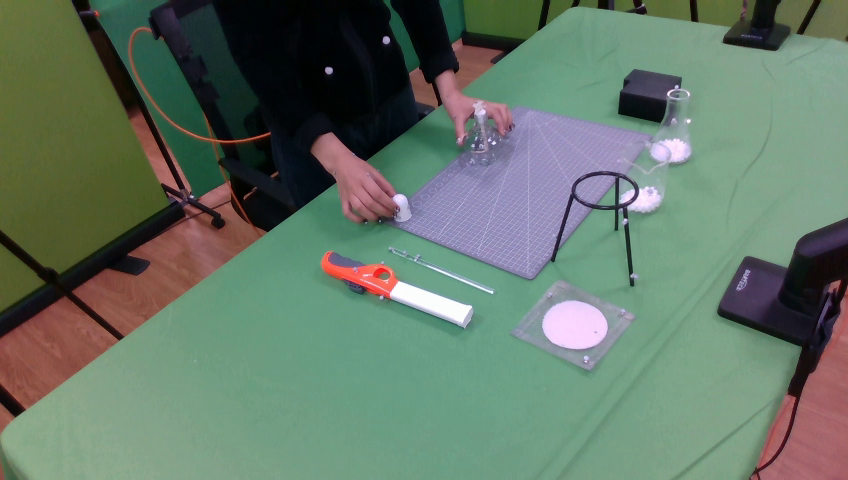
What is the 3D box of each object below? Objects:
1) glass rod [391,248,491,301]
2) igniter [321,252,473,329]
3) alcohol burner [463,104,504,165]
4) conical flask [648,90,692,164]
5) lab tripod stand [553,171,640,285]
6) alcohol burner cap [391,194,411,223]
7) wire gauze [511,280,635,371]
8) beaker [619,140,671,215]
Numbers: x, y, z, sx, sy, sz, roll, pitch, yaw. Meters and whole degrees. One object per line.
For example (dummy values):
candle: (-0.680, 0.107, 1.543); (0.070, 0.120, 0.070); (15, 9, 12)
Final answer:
glass rod: (0.023, 0.050, 0.935); (0.198, 0.008, 0.008); (25, 52, 32)
igniter: (-0.051, 0.071, 0.906); (0.274, 0.025, 0.057); (18, 57, 29)
alcohol burner: (0.109, -0.201, 1.126); (0.078, 0.119, 0.077); (-5, 42, 5)
conical flask: (0.437, -0.199, 1.057); (0.075, 0.122, 0.075); (-5, 40, 5)
lab tripod stand: (0.260, -0.025, 0.877); (0.148, 0.132, 0.147); (-6, 38, 5)
alcohol burner cap: (-0.041, -0.056, 1.038); (0.034, 0.048, 0.033); (-5, 36, 4)
wire gauze: (0.203, 0.114, 0.822); (0.120, 0.011, 0.125); (25, 52, 35)
beaker: (0.352, -0.096, 0.971); (0.074, 0.101, 0.084); (1, 42, 13)
